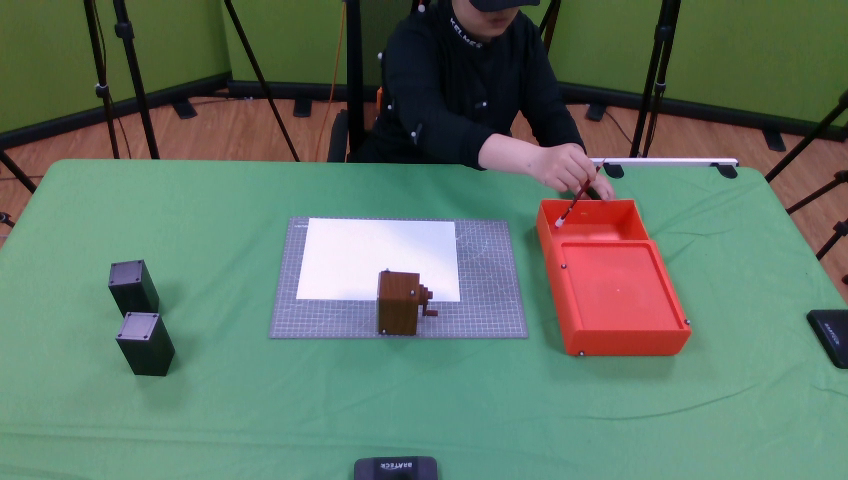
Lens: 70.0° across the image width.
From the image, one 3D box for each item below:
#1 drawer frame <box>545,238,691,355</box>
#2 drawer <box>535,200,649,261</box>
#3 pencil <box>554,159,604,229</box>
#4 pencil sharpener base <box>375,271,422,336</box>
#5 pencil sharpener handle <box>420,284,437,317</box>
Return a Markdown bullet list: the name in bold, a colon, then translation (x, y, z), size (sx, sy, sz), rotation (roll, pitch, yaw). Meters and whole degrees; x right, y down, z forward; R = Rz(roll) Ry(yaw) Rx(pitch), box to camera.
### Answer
- **drawer frame**: translation (0.338, 0.097, 1.086), size (0.202, 0.083, 0.212), rotation (0, 46, -4)
- **drawer**: translation (0.332, 0.015, 1.170), size (0.195, 0.073, 0.210), rotation (0, 46, -5)
- **pencil**: translation (0.281, -0.081, 1.103), size (0.012, 0.195, 0.012), rotation (9, 51, -11)
- **pencil sharpener base**: translation (-0.043, 0.109, 1.025), size (0.077, 0.107, 0.061), rotation (3, 45, -2)
- **pencil sharpener handle**: translation (0.009, 0.104, 1.017), size (0.030, 0.068, 0.036), rotation (3, 40, -2)
